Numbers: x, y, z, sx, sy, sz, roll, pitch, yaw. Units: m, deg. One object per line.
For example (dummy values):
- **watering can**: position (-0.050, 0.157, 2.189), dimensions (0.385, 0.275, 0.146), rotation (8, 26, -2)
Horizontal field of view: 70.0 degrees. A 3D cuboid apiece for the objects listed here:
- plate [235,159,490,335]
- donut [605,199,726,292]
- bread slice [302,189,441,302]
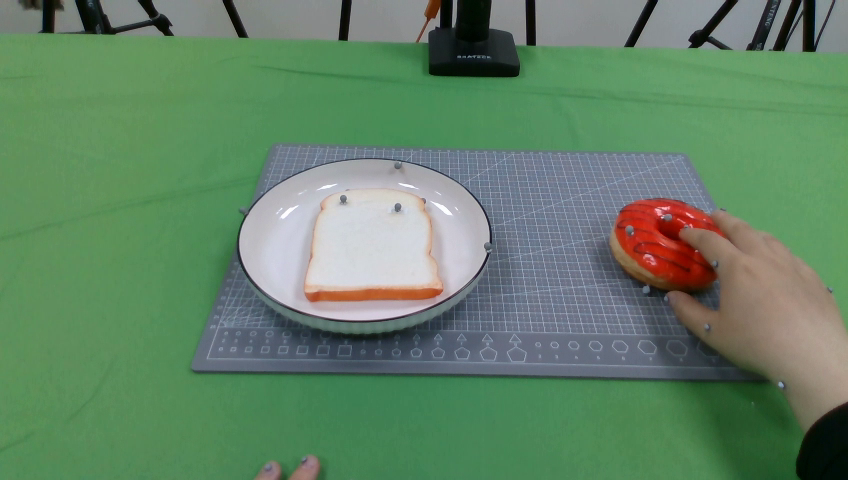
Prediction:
- **plate**: position (-0.049, 0.004, 0.511), dimensions (0.209, 0.038, 0.207), rotation (2, 41, -1)
- **donut**: position (0.206, 0.004, 0.518), dimensions (0.099, 0.048, 0.098), rotation (3, 43, -2)
- **bread slice**: position (-0.047, 0.002, 0.516), dimensions (0.107, 0.018, 0.133), rotation (-2, 42, -7)
